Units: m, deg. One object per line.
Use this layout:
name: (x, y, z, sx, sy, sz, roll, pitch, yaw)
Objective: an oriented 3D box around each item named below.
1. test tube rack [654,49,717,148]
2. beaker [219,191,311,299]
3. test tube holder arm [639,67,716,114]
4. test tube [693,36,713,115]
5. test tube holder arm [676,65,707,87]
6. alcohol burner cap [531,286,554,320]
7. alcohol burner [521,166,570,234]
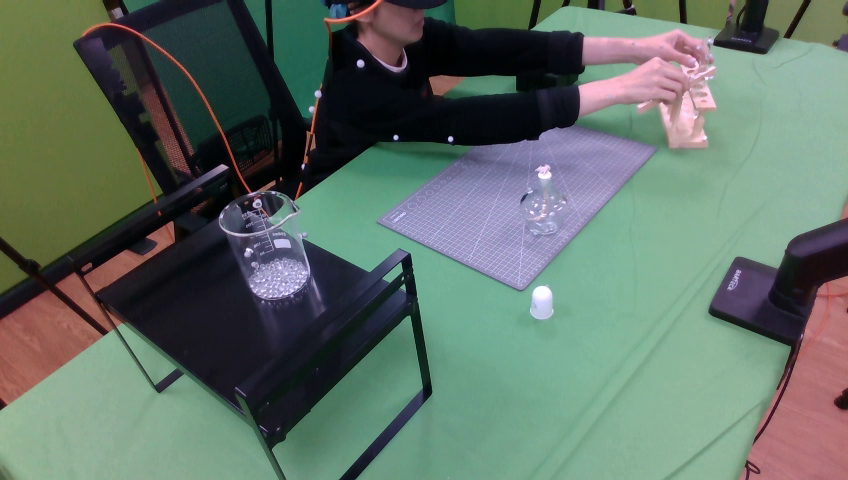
test tube rack: (0.502, -0.281, 1.176, 0.066, 0.085, 0.241, 2, 41, 11)
beaker: (-0.164, 0.008, 0.654, 0.084, 0.101, 0.073, -10, 41, -3)
test tube holder arm: (0.439, -0.259, 1.043, 0.179, 0.015, 0.013, -30, 37, -19)
test tube: (0.494, -0.289, 1.073, 0.017, 0.151, 0.017, -7, 41, 7)
test tube holder arm: (0.471, -0.284, 1.064, 0.088, 0.015, 0.010, -37, 41, -27)
alcohol burner cap: (0.164, 0.084, 0.838, 0.034, 0.048, 0.033, -4, 40, 4)
alcohol burner: (0.192, -0.068, 0.951, 0.078, 0.119, 0.077, -4, 42, 4)
